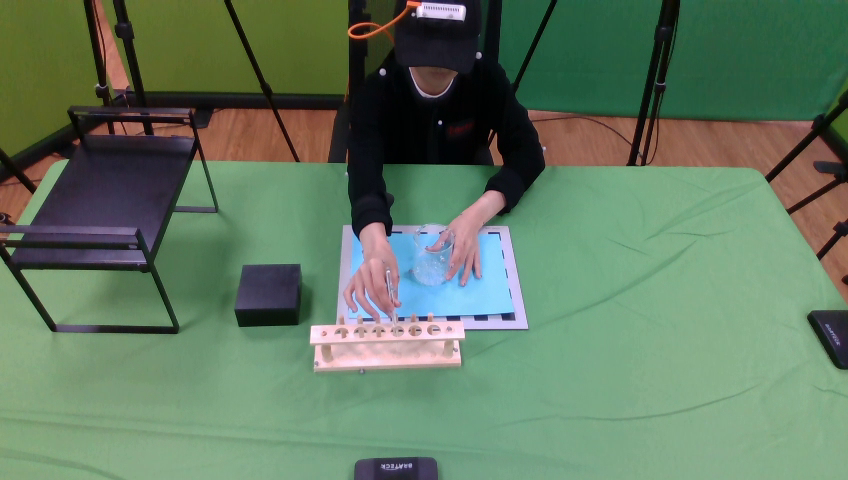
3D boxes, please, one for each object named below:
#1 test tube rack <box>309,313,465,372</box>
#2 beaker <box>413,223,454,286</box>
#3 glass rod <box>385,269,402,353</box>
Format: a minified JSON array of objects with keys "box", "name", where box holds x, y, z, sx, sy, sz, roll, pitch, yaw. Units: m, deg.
[{"box":[-0.059,0.161,0.990,0.242,0.085,0.066,-1,46,-5],"name":"test tube rack"},{"box":[0.017,0.028,1.109,0.084,0.101,0.073,-34,57,-32],"name":"beaker"},{"box":[-0.046,0.114,0.930,0.008,0.201,0.008,-3,44,3],"name":"glass rod"}]
